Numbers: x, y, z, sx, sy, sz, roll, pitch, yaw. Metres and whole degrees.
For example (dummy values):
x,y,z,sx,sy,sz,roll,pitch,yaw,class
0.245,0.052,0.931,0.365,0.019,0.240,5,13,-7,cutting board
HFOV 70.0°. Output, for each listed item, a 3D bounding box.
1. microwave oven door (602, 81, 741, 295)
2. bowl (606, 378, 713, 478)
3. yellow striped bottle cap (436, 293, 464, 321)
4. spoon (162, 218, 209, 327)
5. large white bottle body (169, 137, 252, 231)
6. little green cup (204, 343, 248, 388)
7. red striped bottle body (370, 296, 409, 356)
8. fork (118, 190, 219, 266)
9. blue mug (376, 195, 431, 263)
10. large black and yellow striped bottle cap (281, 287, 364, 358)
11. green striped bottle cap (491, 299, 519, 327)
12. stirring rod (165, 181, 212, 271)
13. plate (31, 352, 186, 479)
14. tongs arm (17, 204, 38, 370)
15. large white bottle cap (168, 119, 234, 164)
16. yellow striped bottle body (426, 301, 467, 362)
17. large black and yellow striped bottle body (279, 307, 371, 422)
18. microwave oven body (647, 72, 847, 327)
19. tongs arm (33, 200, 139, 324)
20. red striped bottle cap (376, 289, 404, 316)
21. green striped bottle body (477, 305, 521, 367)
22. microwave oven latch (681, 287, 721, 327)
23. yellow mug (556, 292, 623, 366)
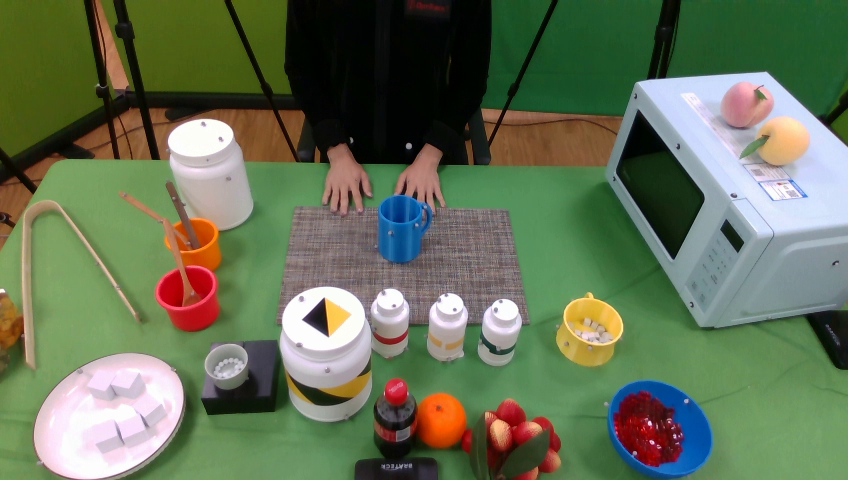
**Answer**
x,y,z,sx,sy,sz,roll,pitch,yaw,class
0.456,-0.107,1.162,0.039,0.245,0.353,-7,47,-11,microwave oven door
0.340,0.292,0.906,0.151,0.077,0.150,2,46,-2,bowl
0.041,0.106,0.959,0.044,0.019,0.044,-1,49,1,yellow striped bottle cap
-0.410,0.054,1.029,0.041,0.021,0.194,-17,94,-15,spoon
-0.411,-0.123,1.169,0.131,0.185,0.130,2,46,-2,large white bottle body
-0.294,0.190,0.909,0.061,0.039,0.061,1,48,-1,little green cup
-0.058,0.134,0.997,0.063,0.120,0.062,4,47,-4,red striped bottle body
-0.459,-0.020,1.092,0.208,0.018,0.028,44,44,-24,fork
-0.035,-0.027,1.159,0.116,0.106,0.082,-24,53,-25,blue mug
-0.141,0.112,0.847,0.115,0.019,0.114,5,45,-4,large black and yellow striped bottle cap
0.128,0.115,0.958,0.044,0.020,0.044,1,45,0,green striped bottle cap
-0.430,-0.025,1.107,0.014,0.006,0.176,-25,94,-20,stirring rod
-0.459,0.262,0.898,0.209,0.038,0.208,2,45,-2,plate
-0.698,0.069,1.068,0.028,0.028,0.385,-20,50,-13,tongs arm
-0.407,-0.181,1.108,0.115,0.018,0.114,2,47,-2,large white bottle cap
0.037,0.142,0.996,0.063,0.121,0.062,2,47,-2,yellow striped bottle body
-0.145,0.173,0.907,0.131,0.185,0.130,2,46,-2,large black and yellow striped bottle body
0.607,-0.089,1.164,0.326,0.261,0.438,-7,46,-10,microwave oven body
-0.622,0.034,1.105,0.051,0.026,0.382,-32,56,-26,tongs arm
-0.055,0.098,0.958,0.044,0.018,0.044,0,48,1,red striped bottle cap
0.124,0.151,0.995,0.063,0.120,0.063,2,46,-2,green striped bottle body
0.494,0.119,1.087,0.030,0.029,0.078,-6,46,-9,microwave oven latch
0.285,0.145,1.051,0.100,0.064,0.130,7,45,3,yellow mug
